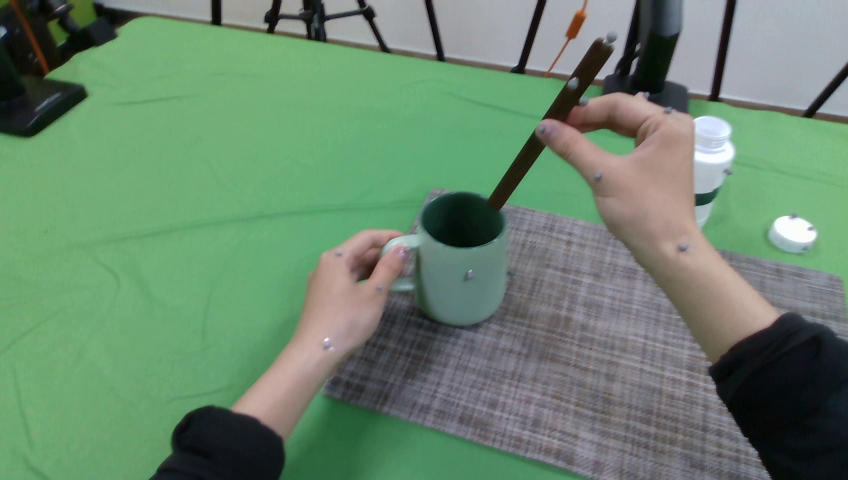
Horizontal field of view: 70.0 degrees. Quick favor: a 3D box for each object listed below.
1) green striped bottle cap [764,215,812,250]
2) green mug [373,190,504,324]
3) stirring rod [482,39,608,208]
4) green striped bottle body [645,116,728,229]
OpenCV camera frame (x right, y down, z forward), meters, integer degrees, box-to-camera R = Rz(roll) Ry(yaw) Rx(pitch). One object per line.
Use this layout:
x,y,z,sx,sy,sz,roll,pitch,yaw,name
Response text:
0.403,-0.008,0.670,0.044,0.020,0.044,1,40,-1,green striped bottle cap
0.015,0.020,0.568,0.125,0.106,0.091,-9,45,-9,green mug
0.079,-0.074,0.433,0.014,0.177,0.006,32,54,1,stirring rod
0.288,-0.074,0.662,0.063,0.120,0.062,0,44,0,green striped bottle body
